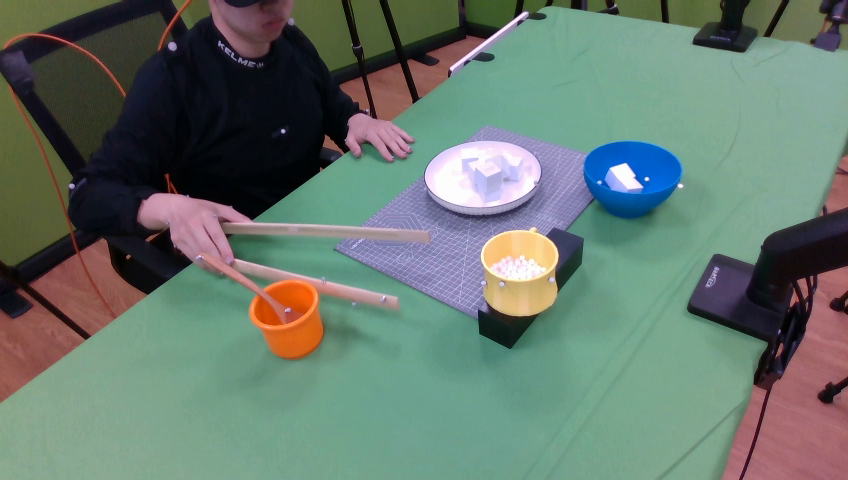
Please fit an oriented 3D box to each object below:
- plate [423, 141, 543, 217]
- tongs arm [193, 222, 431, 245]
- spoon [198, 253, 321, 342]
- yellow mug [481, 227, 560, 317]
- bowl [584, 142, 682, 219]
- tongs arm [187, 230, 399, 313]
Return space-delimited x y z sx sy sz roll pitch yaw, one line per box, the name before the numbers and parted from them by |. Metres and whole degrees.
plate | 0.103 -0.103 1.059 0.207 0.039 0.206 -4 40 4
tongs arm | -0.179 -0.007 0.946 0.386 0.028 0.028 2 49 12
spoon | -0.220 0.075 0.814 0.021 0.194 0.041 -37 18 39
yellow mug | 0.131 0.032 0.801 0.099 0.064 0.131 11 43 20
bowl | 0.333 -0.087 0.980 0.151 0.077 0.150 -4 40 3
tongs arm | -0.203 0.043 0.895 0.383 0.026 0.051 11 48 20
